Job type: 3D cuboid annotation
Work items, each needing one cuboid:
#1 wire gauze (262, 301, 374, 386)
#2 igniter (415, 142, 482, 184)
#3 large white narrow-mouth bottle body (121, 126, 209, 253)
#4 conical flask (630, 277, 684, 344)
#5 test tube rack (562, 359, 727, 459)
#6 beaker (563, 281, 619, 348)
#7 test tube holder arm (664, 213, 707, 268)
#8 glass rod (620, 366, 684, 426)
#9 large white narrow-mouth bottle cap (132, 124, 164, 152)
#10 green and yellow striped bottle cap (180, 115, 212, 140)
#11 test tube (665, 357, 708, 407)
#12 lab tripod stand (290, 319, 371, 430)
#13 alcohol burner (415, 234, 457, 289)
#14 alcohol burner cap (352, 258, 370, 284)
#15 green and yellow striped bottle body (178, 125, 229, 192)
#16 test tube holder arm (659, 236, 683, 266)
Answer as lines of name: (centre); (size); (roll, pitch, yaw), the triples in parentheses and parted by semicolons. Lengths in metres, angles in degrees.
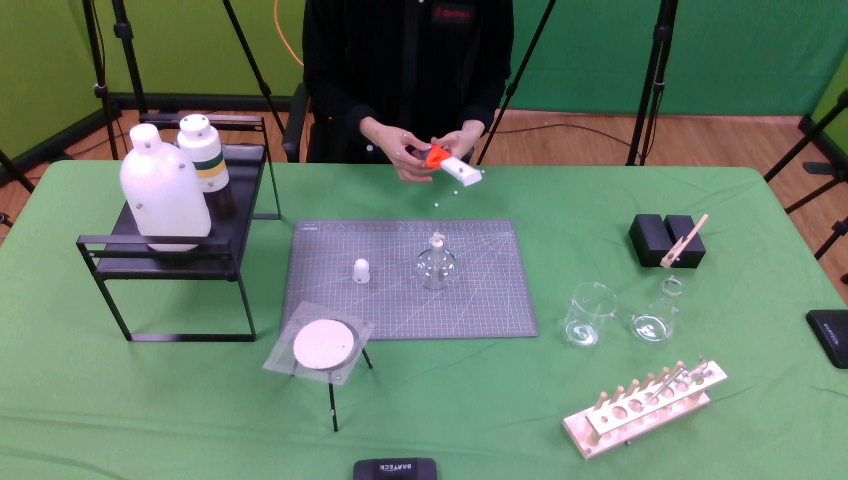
wire gauze: (-0.150, 0.148, 0.873); (0.121, 0.011, 0.124); (14, 46, 12)
igniter: (0.039, -0.146, 1.112); (0.057, 0.025, 0.275); (-24, 24, -9)
large white narrow-mouth bottle body: (-0.378, -0.077, 0.875); (0.102, 0.195, 0.101); (3, 46, -3)
conical flask: (0.408, 0.117, 1.045); (0.075, 0.122, 0.075); (2, 46, -2)
test tube rack: (0.341, 0.247, 0.940); (0.243, 0.085, 0.066); (-16, 49, -19)
beaker: (0.283, 0.129, 1.041); (0.074, 0.101, 0.083); (11, 46, 6)
test tube holder arm: (0.507, -0.001, 1.171); (0.013, 0.015, 0.178); (34, 54, 26)
glass rod: (0.322, 0.227, 0.866); (0.008, 0.200, 0.008); (5, 51, -7)
large white narrow-mouth bottle cap: (-0.371, -0.137, 0.813); (0.038, 0.024, 0.037); (3, 46, -3)
green and yellow striped bottle cap: (-0.358, -0.177, 0.951); (0.045, 0.020, 0.045); (1, 45, -1)
test tube: (0.387, 0.216, 0.905); (0.017, 0.151, 0.017); (1, 53, -1)
lab tripod stand: (-0.146, 0.193, 0.923); (0.148, 0.132, 0.147); (1, 47, -1)
alcohol burner: (0.022, 0.033, 1.099); (0.078, 0.120, 0.077); (1, 47, -1)
alcohol burner cap: (-0.117, 0.055, 1.118); (0.034, 0.048, 0.033); (2, 46, -1)
green and yellow striped bottle body: (-0.361, -0.142, 0.989); (0.063, 0.120, 0.063); (2, 46, -2)
test tube holder arm: (0.472, 0.020, 1.149); (0.010, 0.015, 0.088); (35, 54, 27)
